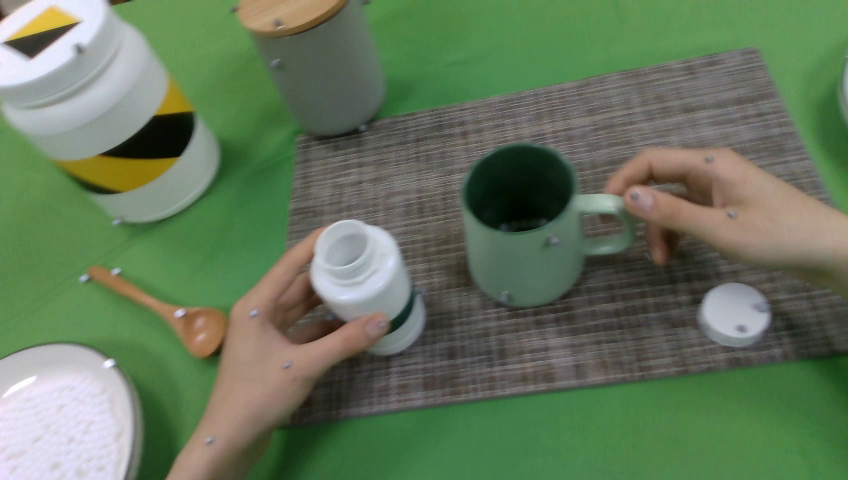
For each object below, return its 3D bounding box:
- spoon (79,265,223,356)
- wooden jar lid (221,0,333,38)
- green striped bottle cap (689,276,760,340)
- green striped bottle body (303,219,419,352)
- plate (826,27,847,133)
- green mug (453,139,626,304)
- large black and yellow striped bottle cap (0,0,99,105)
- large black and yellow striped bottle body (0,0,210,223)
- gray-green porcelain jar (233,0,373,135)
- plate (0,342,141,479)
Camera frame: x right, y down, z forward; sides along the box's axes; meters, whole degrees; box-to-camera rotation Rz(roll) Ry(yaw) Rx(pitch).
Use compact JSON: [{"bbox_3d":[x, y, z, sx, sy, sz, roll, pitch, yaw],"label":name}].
[{"bbox_3d":[-0.248,0.054,0.539,0.192,0.022,0.041,20,84,23],"label":"spoon"},{"bbox_3d":[-0.124,-0.210,0.532,0.108,0.021,0.107,-8,56,12],"label":"wooden jar lid"},{"bbox_3d":[0.216,0.049,0.436,0.044,0.020,0.044,-6,54,8],"label":"green striped bottle cap"},{"bbox_3d":[-0.046,0.032,0.442,0.063,0.120,0.062,-6,58,10],"label":"green striped bottle body"},{"bbox_3d":[0.430,-0.115,0.476,0.207,0.039,0.205,-6,58,10],"label":"plate"},{"bbox_3d":[0.084,-0.012,0.448,0.125,0.106,0.092,-1,59,12],"label":"green mug"},{"bbox_3d":[-0.317,-0.156,0.486,0.115,0.019,0.114,-6,57,9],"label":"large black and yellow striped bottle cap"},{"bbox_3d":[-0.299,-0.114,0.556,0.130,0.186,0.129,-6,58,10],"label":"large black and yellow striped bottle body"},{"bbox_3d":[-0.111,-0.174,0.582,0.106,0.128,0.105,-6,54,9],"label":"gray-green porcelain jar"},{"bbox_3d":[-0.311,0.181,0.466,0.209,0.038,0.207,-6,58,9],"label":"plate"}]
